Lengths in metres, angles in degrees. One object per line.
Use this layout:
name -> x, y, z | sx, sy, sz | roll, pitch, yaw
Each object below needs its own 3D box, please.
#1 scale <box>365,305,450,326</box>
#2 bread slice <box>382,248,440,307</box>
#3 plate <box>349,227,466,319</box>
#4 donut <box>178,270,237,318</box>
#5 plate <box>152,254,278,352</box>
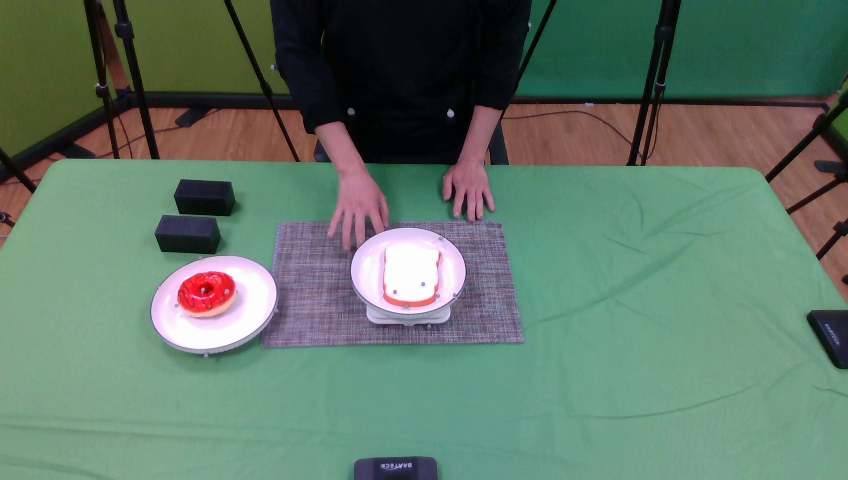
scale -> -0.032, 0.071, 1.113 | 0.149, 0.032, 0.199 | 0, 46, -4
bread slice -> -0.023, 0.064, 1.077 | 0.105, 0.019, 0.130 | 2, 45, 0
plate -> -0.029, 0.061, 1.077 | 0.209, 0.038, 0.208 | 2, 46, -2
donut -> -0.375, 0.092, 1.053 | 0.099, 0.048, 0.098 | 1, 42, 0
plate -> -0.357, 0.111, 1.052 | 0.208, 0.039, 0.206 | 2, 46, -2
